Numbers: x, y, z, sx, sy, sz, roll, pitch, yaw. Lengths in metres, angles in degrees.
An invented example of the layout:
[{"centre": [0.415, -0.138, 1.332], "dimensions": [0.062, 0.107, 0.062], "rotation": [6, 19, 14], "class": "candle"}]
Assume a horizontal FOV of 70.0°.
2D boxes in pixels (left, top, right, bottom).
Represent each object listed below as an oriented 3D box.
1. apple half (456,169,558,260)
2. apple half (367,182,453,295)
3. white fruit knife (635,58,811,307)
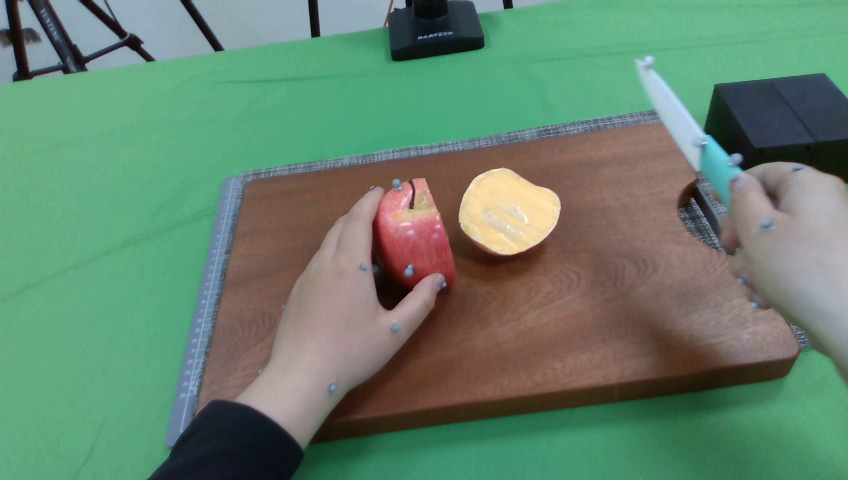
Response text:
[{"centre": [0.063, -0.014, 0.481], "dimensions": [0.081, 0.033, 0.080], "rotation": [-2, 61, 3], "class": "apple half"}, {"centre": [-0.013, 0.003, 0.447], "dimensions": [0.053, 0.075, 0.080], "rotation": [-18, 48, -3], "class": "apple half"}, {"centre": [0.179, -0.051, 0.383], "dimensions": [0.016, 0.027, 0.205], "rotation": [-8, 54, -13], "class": "white fruit knife"}]
